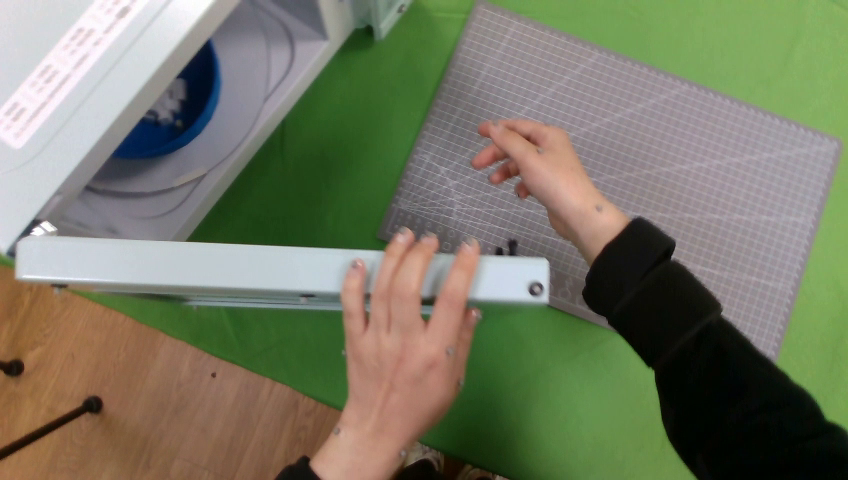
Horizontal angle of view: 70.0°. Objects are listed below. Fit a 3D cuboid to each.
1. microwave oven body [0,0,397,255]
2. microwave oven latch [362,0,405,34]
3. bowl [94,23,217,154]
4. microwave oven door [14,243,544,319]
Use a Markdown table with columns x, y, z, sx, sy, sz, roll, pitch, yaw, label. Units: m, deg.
| x | y | z | sx | sy | sz | roll | pitch | yaw | label |
| --- | --- | --- | --- | --- | --- | --- | --- | --- | --- |
| -0.260 | -0.225 | 0.554 | 0.325 | 0.261 | 0.441 | 35 | 83 | 3 | microwave oven body |
| -0.037 | -0.267 | 0.663 | 0.030 | 0.029 | 0.079 | 37 | 83 | 4 | microwave oven latch |
| -0.262 | -0.143 | 0.574 | 0.151 | 0.077 | 0.150 | 0 | 78 | 0 | bowl |
| -0.096 | 0.038 | 0.516 | 0.356 | 0.244 | 0.039 | 3 | 80 | -1 | microwave oven door |
